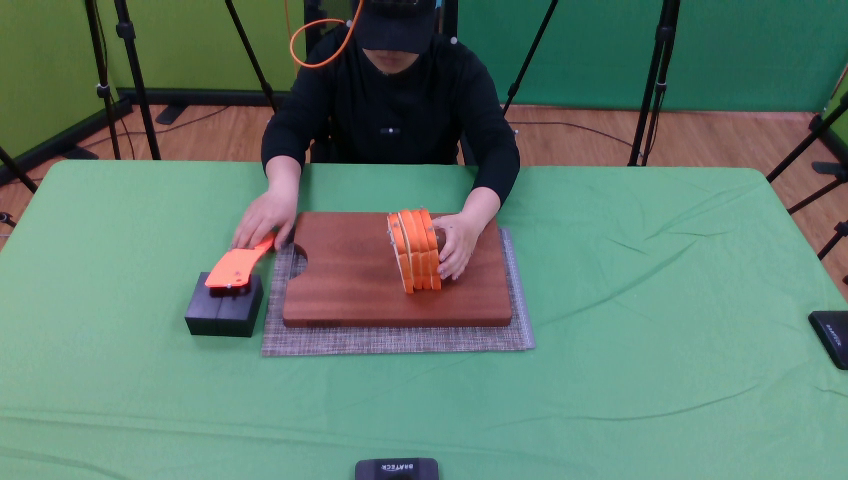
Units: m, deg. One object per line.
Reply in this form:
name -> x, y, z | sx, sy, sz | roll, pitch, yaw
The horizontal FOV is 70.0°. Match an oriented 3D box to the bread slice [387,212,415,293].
bread slice -> -0.043, 0.016, 1.067 | 0.019, 0.132, 0.104 | -15, 45, -5

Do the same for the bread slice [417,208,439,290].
bread slice -> 0.007, 0.012, 1.073 | 0.018, 0.135, 0.106 | -11, 50, -7

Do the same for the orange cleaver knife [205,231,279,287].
orange cleaver knife -> -0.328, 0.031, 1.109 | 0.077, 0.012, 0.210 | 5, 27, 7
